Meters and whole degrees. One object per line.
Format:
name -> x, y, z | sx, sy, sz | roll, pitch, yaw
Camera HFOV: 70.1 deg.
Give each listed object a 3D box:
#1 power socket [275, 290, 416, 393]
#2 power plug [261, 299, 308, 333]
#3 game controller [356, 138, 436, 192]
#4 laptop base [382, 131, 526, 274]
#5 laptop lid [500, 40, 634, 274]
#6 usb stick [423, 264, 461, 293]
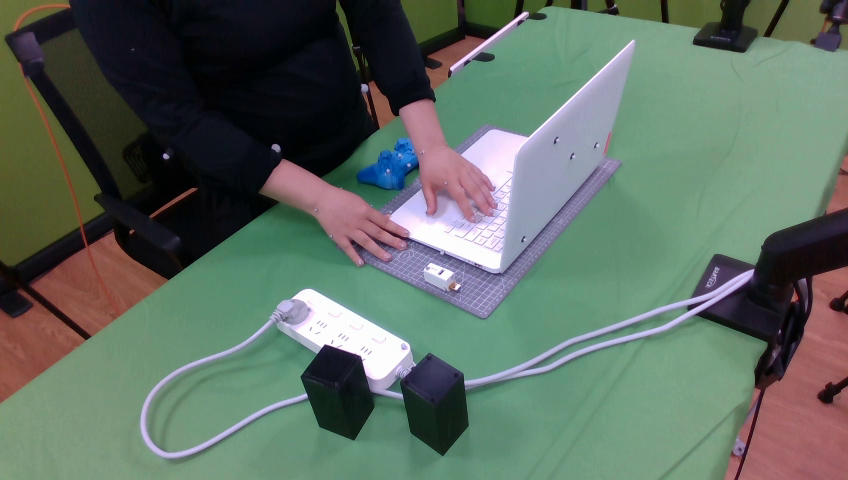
power socket -> -0.114, 0.133, 0.820 | 0.225, 0.033, 0.072 | 24, 48, 31
power plug -> -0.193, 0.110, 0.830 | 0.073, 0.053, 0.035 | -36, 48, -23
game controller -> -0.048, -0.149, 1.136 | 0.096, 0.052, 0.155 | 26, 51, 29
laptop base -> 0.124, -0.080, 1.049 | 0.233, 0.023, 0.355 | 20, 47, 33
laptop lid -> 0.218, -0.127, 0.905 | 0.013, 0.242, 0.358 | 28, 50, 25
usb stick -> 0.028, 0.058, 0.888 | 0.059, 0.027, 0.021 | 24, 46, 29
